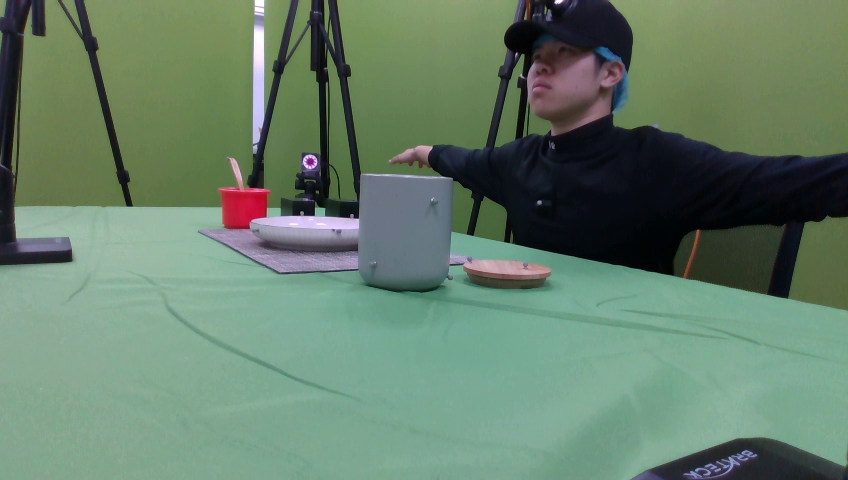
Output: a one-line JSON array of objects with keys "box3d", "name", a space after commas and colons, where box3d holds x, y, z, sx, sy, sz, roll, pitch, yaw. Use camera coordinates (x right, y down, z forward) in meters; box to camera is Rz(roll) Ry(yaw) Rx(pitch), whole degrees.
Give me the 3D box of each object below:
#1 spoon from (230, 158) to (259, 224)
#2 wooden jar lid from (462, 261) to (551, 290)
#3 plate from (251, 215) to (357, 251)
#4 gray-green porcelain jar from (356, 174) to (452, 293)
[{"box3d": [-0.366, -0.101, 1.215, 0.042, 0.021, 0.193, -1, 52, -30], "name": "spoon"}, {"box3d": [0.100, 0.043, 0.742, 0.108, 0.020, 0.108, 2, 6, 0], "name": "wooden jar lid"}, {"box3d": [-0.170, -0.012, 0.971, 0.208, 0.039, 0.207, 2, 7, 0], "name": "plate"}, {"box3d": [-0.023, -0.009, 0.682, 0.106, 0.126, 0.106, 2, 7, 0], "name": "gray-green porcelain jar"}]
